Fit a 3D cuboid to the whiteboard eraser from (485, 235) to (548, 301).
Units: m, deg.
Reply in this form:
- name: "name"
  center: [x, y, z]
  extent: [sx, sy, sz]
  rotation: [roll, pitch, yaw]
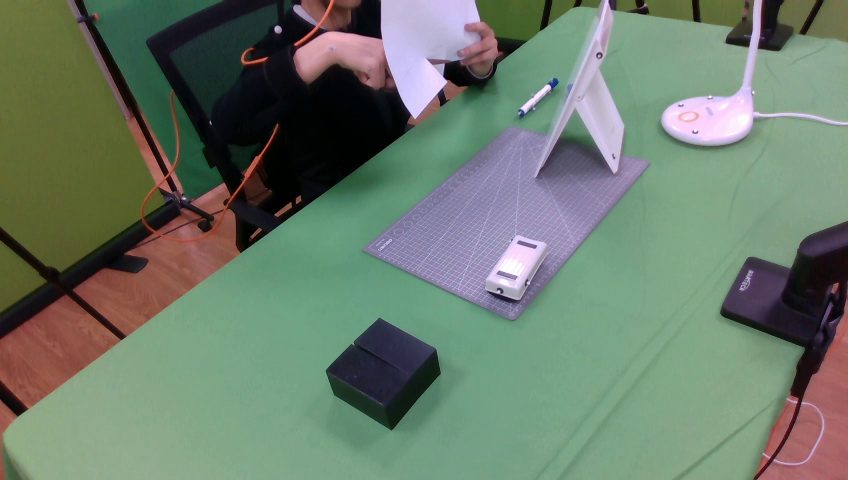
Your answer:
- name: "whiteboard eraser"
  center: [0.137, 0.042, 0.887]
  extent: [0.055, 0.042, 0.113]
  rotation: [15, 45, 27]

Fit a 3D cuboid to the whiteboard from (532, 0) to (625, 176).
- name: "whiteboard"
  center: [0.320, -0.259, 1.050]
  extent: [0.144, 0.306, 0.217]
  rotation: [21, 45, 5]

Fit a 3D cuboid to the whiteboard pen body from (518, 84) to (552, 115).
- name: "whiteboard pen body"
  center: [0.243, -0.306, 1.289]
  extent: [0.017, 0.017, 0.141]
  rotation: [24, 52, 33]

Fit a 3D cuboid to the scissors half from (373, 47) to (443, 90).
- name: "scissors half"
  center: [-0.023, -0.304, 1.055]
  extent: [0.012, 0.040, 0.176]
  rotation: [1, 34, 50]

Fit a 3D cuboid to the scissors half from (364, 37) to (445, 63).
- name: "scissors half"
  center: [-0.029, -0.326, 1.052]
  extent: [0.176, 0.040, 0.012]
  rotation: [-5, 0, -39]

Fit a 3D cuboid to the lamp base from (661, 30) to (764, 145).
- name: "lamp base"
  center: [0.535, -0.287, 1.096]
  extent: [0.179, 0.181, 0.159]
  rotation: [-10, 40, -4]

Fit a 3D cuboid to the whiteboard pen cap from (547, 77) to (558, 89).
- name: "whiteboard pen cap"
  center: [0.279, -0.341, 1.321]
  extent: [0.018, 0.018, 0.033]
  rotation: [22, 51, 31]
